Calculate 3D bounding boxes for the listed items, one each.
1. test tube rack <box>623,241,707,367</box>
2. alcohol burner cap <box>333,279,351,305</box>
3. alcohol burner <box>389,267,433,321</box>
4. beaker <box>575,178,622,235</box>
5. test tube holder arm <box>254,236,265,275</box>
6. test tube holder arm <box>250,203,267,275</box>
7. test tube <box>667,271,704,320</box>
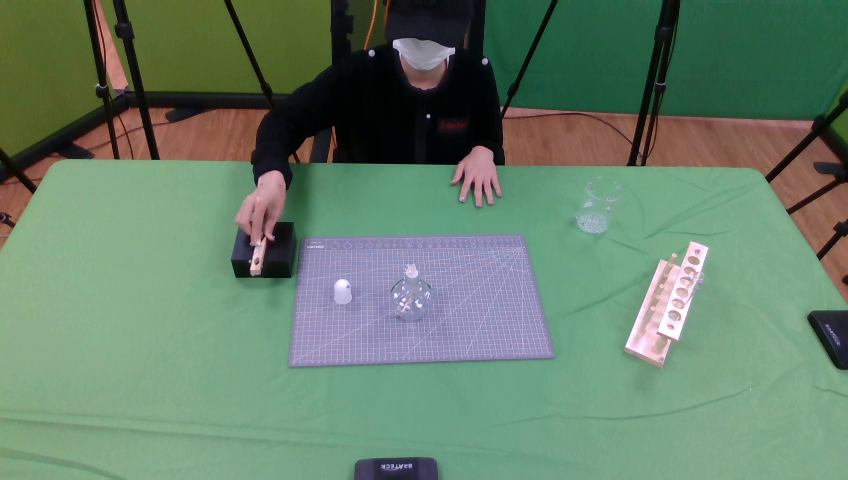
[{"bbox_3d":[0.435,0.104,1.089,0.066,0.085,0.242,24,49,19],"label":"test tube rack"},{"bbox_3d":[-0.148,0.090,1.083,0.034,0.048,0.033,3,46,-2],"label":"alcohol burner cap"},{"bbox_3d":[-0.022,0.085,1.046,0.078,0.119,0.077,2,48,-3],"label":"alcohol burner"},{"bbox_3d":[0.356,-0.068,1.240,0.084,0.101,0.073,-18,50,-21],"label":"beaker"},{"bbox_3d":[-0.294,0.026,1.085,0.010,0.015,0.087,8,43,-13],"label":"test tube holder arm"},{"bbox_3d":[-0.304,-0.006,1.116,0.013,0.015,0.177,7,43,-14],"label":"test tube holder arm"},{"bbox_3d":[0.432,0.104,1.019,0.017,0.151,0.017,3,48,-3],"label":"test tube"}]
